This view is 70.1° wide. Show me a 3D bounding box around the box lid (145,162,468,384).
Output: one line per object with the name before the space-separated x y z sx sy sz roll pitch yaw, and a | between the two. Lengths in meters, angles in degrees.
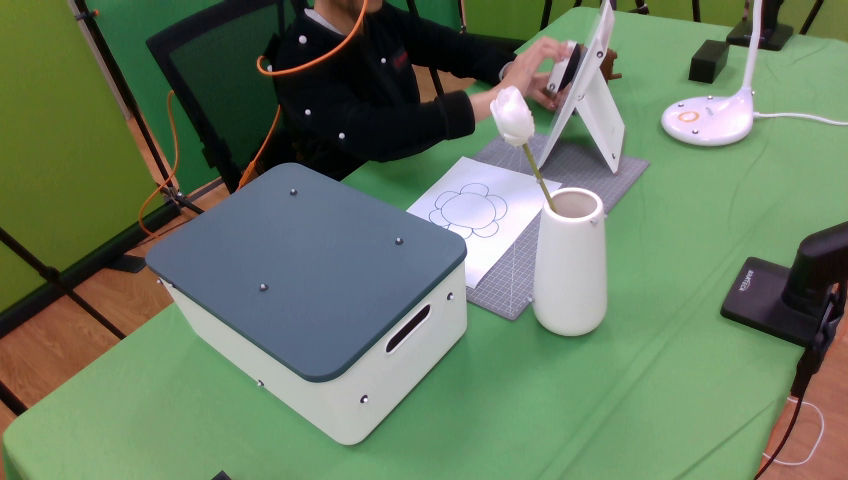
box lid | -0.157 0.014 0.769 0.368 0.015 0.264 25 51 33

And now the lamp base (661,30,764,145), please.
lamp base | 0.535 -0.287 1.096 0.179 0.181 0.159 -10 40 -4

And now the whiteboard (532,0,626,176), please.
whiteboard | 0.321 -0.259 1.051 0.144 0.306 0.217 22 45 5

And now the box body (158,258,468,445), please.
box body | -0.147 0.072 0.816 0.361 0.161 0.255 24 50 33

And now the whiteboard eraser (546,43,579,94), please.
whiteboard eraser | 0.252 -0.310 1.091 0.042 0.055 0.112 24 42 5

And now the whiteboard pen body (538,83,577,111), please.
whiteboard pen body | 0.280 -0.310 1.290 0.017 0.017 0.139 -24 46 -17

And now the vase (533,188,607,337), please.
vase | 0.187 0.033 0.771 0.098 0.201 0.097 -6 41 6

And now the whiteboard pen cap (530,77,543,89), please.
whiteboard pen cap | 0.248 -0.343 1.328 0.018 0.018 0.033 -23 47 -16

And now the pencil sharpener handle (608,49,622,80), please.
pencil sharpener handle | 0.394 -0.367 1.253 0.030 0.068 0.036 -8 32 1

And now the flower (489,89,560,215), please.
flower | 0.159 -0.027 0.720 0.038 0.364 0.044 -14 44 23

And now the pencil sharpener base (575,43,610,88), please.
pencil sharpener base | 0.345 -0.352 1.263 0.077 0.107 0.061 -8 40 1
